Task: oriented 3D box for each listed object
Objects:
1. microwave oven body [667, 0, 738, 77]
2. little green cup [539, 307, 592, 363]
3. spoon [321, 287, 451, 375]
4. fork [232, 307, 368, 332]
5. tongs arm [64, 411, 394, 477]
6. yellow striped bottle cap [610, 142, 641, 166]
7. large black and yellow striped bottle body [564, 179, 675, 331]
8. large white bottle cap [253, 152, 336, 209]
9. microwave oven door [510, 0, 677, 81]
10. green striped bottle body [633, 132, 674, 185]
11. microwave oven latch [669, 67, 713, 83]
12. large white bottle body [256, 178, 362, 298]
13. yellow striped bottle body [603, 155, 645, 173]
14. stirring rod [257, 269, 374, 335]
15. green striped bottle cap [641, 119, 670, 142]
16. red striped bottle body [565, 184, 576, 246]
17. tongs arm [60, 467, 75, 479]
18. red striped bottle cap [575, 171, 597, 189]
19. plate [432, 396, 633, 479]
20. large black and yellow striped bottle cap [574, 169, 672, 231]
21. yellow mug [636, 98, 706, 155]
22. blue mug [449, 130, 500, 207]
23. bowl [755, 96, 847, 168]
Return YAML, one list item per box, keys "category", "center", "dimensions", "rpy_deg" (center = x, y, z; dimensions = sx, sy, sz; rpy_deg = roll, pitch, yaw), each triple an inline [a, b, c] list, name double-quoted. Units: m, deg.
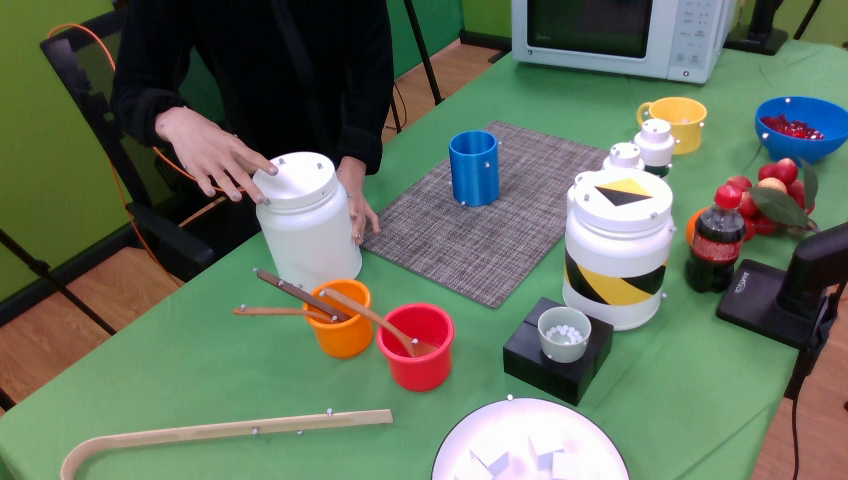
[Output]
- category: "microwave oven body"
  center: [0.462, -0.552, 1.369]
  dimensions: [0.439, 0.261, 0.326]
  rpy_deg: [15, 45, 26]
- category: "little green cup"
  center: [0.168, 0.114, 0.721]
  dimensions: [0.061, 0.039, 0.061]
  rpy_deg: [-4, 43, 4]
- category: "spoon"
  center: [-0.046, 0.111, 0.757]
  dimensions: [0.194, 0.021, 0.041]
  rpy_deg: [38, 47, -15]
- category: "fork"
  center: [-0.152, 0.101, 0.781]
  dimensions: [0.209, 0.018, 0.028]
  rpy_deg: [18, 19, -45]
- category: "tongs arm"
  center: [-0.228, 0.241, 0.715]
  dimensions: [0.385, 0.026, 0.050]
  rpy_deg: [-5, 43, 4]
- category: "yellow striped bottle cap"
  center: [0.308, -0.131, 0.925]
  dimensions: [0.044, 0.019, 0.044]
  rpy_deg: [-4, 45, 5]
- category: "large black and yellow striped bottle body"
  center: [0.253, 0.014, 0.793]
  dimensions: [0.131, 0.185, 0.130]
  rpy_deg: [-5, 40, 4]
- category: "large white bottle cap"
  center: [-0.180, -0.085, 0.841]
  dimensions: [0.115, 0.018, 0.114]
  rpy_deg: [-3, 41, 3]
- category: "microwave oven door"
  center: [0.354, -0.478, 1.290]
  dimensions: [0.353, 0.245, 0.039]
  rpy_deg: [15, 45, 25]
- category: "green striped bottle body"
  center: [0.376, -0.135, 1.001]
  dimensions: [0.063, 0.120, 0.063]
  rpy_deg: [-5, 40, 5]
- category: "microwave oven latch"
  center: [0.556, -0.348, 1.262]
  dimensions: [0.078, 0.029, 0.030]
  rpy_deg: [15, 46, 26]
- category: "large white bottle body"
  center: [-0.171, -0.018, 0.898]
  dimensions: [0.130, 0.185, 0.130]
  rpy_deg: [-4, 40, 4]
- category: "yellow striped bottle body"
  center: [0.314, -0.091, 0.957]
  dimensions: [0.063, 0.121, 0.062]
  rpy_deg: [-4, 40, 4]
- category: "stirring rod"
  center: [-0.143, 0.084, 0.808]
  dimensions: [0.177, 0.006, 0.014]
  rpy_deg: [30, 43, -19]
- category: "green striped bottle cap"
  center: [0.371, -0.175, 0.968]
  dimensions: [0.044, 0.020, 0.044]
  rpy_deg: [-5, 42, 5]
- category: "red striped bottle body"
  center: [0.247, -0.041, 0.910]
  dimensions: [0.063, 0.120, 0.062]
  rpy_deg: [-3, 39, 3]
- category: "tongs arm"
  center: [-0.239, 0.301, 0.648]
  dimensions: [0.386, 0.028, 0.028]
  rpy_deg: [6, 49, 16]
- category: "red striped bottle cap"
  center: [0.242, -0.081, 0.876]
  dimensions: [0.044, 0.018, 0.044]
  rpy_deg: [-5, 44, 5]
- category: "plate"
  center: [0.112, 0.261, 0.635]
  dimensions: [0.209, 0.038, 0.208]
  rpy_deg: [-5, 40, 4]
- category: "large black and yellow striped bottle cap"
  center: [0.242, -0.051, 0.738]
  dimensions: [0.115, 0.019, 0.114]
  rpy_deg: [-4, 37, 3]
- category: "yellow mug"
  center: [0.453, -0.217, 1.128]
  dimensions: [0.100, 0.064, 0.129]
  rpy_deg: [-34, 46, -27]
- category: "blue mug"
  center: [0.089, -0.132, 1.049]
  dimensions: [0.082, 0.106, 0.116]
  rpy_deg: [0, 40, 9]
- category: "bowl"
  center: [0.645, -0.177, 1.041]
  dimensions: [0.151, 0.077, 0.150]
  rpy_deg: [-5, 40, 4]
